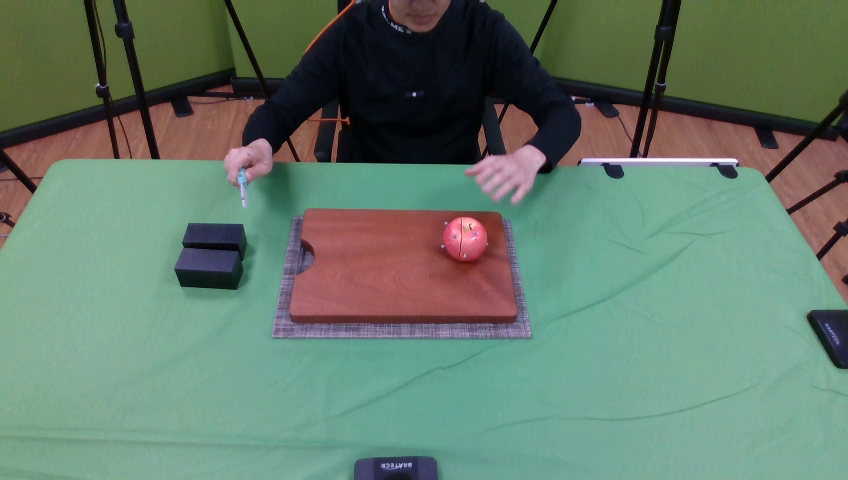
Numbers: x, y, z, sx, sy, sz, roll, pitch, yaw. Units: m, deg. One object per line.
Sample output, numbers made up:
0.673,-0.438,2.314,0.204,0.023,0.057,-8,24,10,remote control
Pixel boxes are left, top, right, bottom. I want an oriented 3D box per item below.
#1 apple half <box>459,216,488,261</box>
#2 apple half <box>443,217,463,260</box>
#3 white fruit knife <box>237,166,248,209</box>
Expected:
0.091,0.000,1.126,0.053,0.075,0.080,5,42,-5,apple half
0.051,-0.002,1.123,0.033,0.081,0.081,3,46,-3,apple half
-0.319,-0.095,1.072,0.016,0.027,0.206,-24,29,-7,white fruit knife
